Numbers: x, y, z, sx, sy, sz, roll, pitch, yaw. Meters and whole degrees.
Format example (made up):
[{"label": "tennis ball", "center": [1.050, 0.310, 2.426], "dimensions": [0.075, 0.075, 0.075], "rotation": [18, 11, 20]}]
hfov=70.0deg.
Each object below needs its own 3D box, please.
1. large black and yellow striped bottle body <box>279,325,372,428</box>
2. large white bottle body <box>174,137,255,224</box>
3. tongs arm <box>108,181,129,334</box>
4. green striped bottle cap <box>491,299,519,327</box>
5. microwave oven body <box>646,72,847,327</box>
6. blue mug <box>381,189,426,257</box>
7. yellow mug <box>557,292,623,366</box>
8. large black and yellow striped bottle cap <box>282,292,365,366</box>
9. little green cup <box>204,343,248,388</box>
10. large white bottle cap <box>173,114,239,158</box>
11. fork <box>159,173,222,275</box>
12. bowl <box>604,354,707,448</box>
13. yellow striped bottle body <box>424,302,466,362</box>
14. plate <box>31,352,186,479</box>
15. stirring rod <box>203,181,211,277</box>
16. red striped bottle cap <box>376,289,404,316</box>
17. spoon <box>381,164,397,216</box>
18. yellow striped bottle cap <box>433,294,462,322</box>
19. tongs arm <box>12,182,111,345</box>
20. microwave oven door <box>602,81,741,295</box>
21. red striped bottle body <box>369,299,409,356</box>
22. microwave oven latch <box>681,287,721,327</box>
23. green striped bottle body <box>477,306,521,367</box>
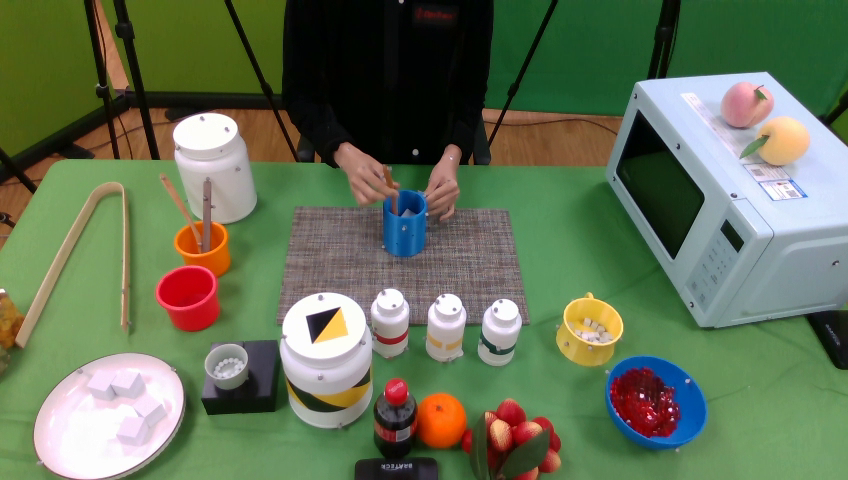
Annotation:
[{"label": "large black and yellow striped bottle body", "center": [-0.143, 0.181, 0.900], "dimensions": [0.131, 0.185, 0.130], "rotation": [2, 46, -2]}, {"label": "large white bottle body", "center": [-0.408, -0.136, 1.183], "dimensions": [0.131, 0.185, 0.130], "rotation": [2, 46, -2]}, {"label": "tongs arm", "center": [-0.571, 0.019, 1.123], "dimensions": [0.051, 0.026, 0.382], "rotation": [-10, 47, -12]}, {"label": "green striped bottle cap", "center": [0.128, 0.115, 0.958], "dimensions": [0.044, 0.020, 0.044], "rotation": [1, 46, -1]}, {"label": "microwave oven body", "center": [0.607, -0.089, 1.164], "dimensions": [0.326, 0.261, 0.438], "rotation": [-7, 46, -10]}, {"label": "blue mug", "center": [-0.031, -0.041, 1.173], "dimensions": [0.082, 0.106, 0.116], "rotation": [28, 50, 21]}, {"label": "yellow mug", "center": [0.285, 0.145, 1.051], "dimensions": [0.100, 0.064, 0.130], "rotation": [7, 45, 4]}, {"label": "large black and yellow striped bottle cap", "center": [-0.138, 0.121, 0.841], "dimensions": [0.115, 0.019, 0.114], "rotation": [3, 47, -3]}, {"label": "little green cup", "center": [-0.294, 0.190, 0.909], "dimensions": [0.061, 0.039, 0.061], "rotation": [1, 48, -1]}, {"label": "large white bottle cap", "center": [-0.403, -0.195, 1.122], "dimensions": [0.115, 0.018, 0.114], "rotation": [2, 47, -2]}, {"label": "fork", "center": [-0.427, -0.029, 1.103], "dimensions": [0.028, 0.018, 0.207], "rotation": [-31, 99, -30]}, {"label": "bowl", "center": [0.346, 0.261, 0.937], "dimensions": [0.151, 0.077, 0.150], "rotation": [2, 46, -2]}, {"label": "yellow striped bottle body", "center": [0.035, 0.143, 0.995], "dimensions": [0.063, 0.121, 0.062], "rotation": [3, 46, -2]}, {"label": "plate", "center": [-0.459, 0.262, 0.898], "dimensions": [0.209, 0.038, 0.208], "rotation": [2, 46, -2]}, {"label": "stirring rod", "center": [-0.396, -0.021, 1.107], "dimensions": [0.014, 0.006, 0.176], "rotation": [-1, 89, -1]}, {"label": "red striped bottle cap", "center": [-0.054, 0.098, 0.958], "dimensions": [0.044, 0.018, 0.044], "rotation": [0, 48, 0]}, {"label": "spoon", "center": [-0.060, -0.073, 1.098], "dimensions": [0.041, 0.195, 0.021], "rotation": [31, 60, 25]}, {"label": "yellow striped bottle cap", "center": [0.037, 0.107, 0.958], "dimensions": [0.044, 0.019, 0.044], "rotation": [2, 45, -2]}, {"label": "tongs arm", "center": [-0.657, 0.027, 1.109], "dimensions": [0.028, 0.028, 0.385], "rotation": [-2, 45, 1]}, {"label": "microwave oven door", "center": [0.456, -0.107, 1.162], "dimensions": [0.039, 0.245, 0.353], "rotation": [-7, 47, -11]}, {"label": "red striped bottle body", "center": [-0.058, 0.134, 0.997], "dimensions": [0.063, 0.120, 0.062], "rotation": [4, 47, -4]}, {"label": "microwave oven latch", "center": [0.494, 0.119, 1.087], "dimensions": [0.030, 0.029, 0.078], "rotation": [-6, 46, -9]}, {"label": "green striped bottle body", "center": [0.124, 0.151, 0.995], "dimensions": [0.063, 0.120, 0.063], "rotation": [2, 46, -2]}]
